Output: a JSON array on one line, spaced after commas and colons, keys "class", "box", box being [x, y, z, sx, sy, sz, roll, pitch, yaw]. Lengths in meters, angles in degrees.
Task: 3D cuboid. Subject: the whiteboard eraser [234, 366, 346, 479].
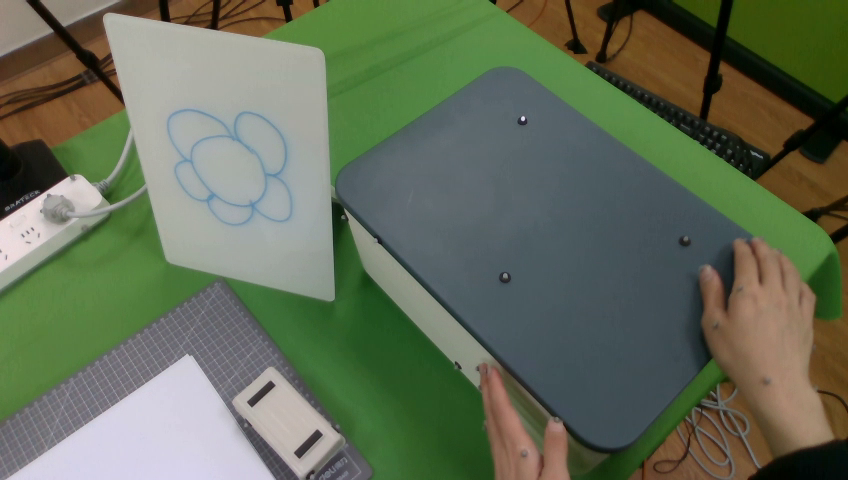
[{"class": "whiteboard eraser", "box": [-0.135, 0.184, 0.613, 0.112, 0.042, 0.055, 38, 63, 22]}]

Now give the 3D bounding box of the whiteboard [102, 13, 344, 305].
[{"class": "whiteboard", "box": [-0.182, -0.104, 0.679, 0.217, 0.308, 0.143, 13, 40, 10]}]

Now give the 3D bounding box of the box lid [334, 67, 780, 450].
[{"class": "box lid", "box": [0.115, -0.016, 0.578, 0.263, 0.015, 0.368, -38, 65, -21]}]

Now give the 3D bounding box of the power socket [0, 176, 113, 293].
[{"class": "power socket", "box": [-0.491, 0.003, 0.741, 0.071, 0.033, 0.226, 39, 65, 21]}]

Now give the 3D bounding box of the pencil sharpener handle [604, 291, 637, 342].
[{"class": "pencil sharpener handle", "box": [0.206, 0.080, 0.615, 0.036, 0.068, 0.030, -23, 59, 1]}]

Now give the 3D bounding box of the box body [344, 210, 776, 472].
[{"class": "box body", "box": [0.118, 0.026, 0.640, 0.254, 0.162, 0.361, -38, 64, -21]}]

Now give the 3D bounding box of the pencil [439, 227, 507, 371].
[{"class": "pencil", "box": [0.056, 0.064, 0.701, 0.012, 0.012, 0.192, -18, 62, -10]}]

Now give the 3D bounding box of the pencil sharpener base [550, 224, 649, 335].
[{"class": "pencil sharpener base", "box": [0.186, 0.047, 0.650, 0.061, 0.108, 0.076, -17, 59, -10]}]

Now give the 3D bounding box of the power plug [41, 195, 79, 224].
[{"class": "power plug", "box": [-0.435, -0.025, 0.730, 0.035, 0.053, 0.072, -33, 64, -18]}]
